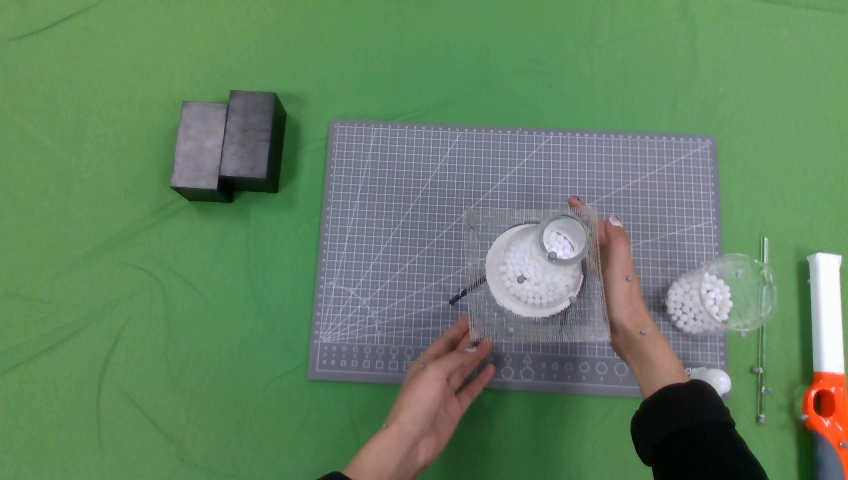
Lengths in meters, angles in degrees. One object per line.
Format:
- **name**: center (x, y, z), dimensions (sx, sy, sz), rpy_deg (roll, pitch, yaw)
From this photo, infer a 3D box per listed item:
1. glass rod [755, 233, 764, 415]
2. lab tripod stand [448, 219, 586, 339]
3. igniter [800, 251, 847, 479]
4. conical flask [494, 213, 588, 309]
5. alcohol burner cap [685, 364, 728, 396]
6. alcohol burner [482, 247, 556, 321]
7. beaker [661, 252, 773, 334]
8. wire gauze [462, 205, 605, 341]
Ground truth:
- **glass rod**: center (0.366, 0.089, 0.661), dimensions (0.008, 0.008, 0.199), rpy_deg (6, 77, 1)
- **lab tripod stand**: center (0.098, 0.041, 0.605), dimensions (0.148, 0.132, 0.147), rpy_deg (0, 79, 1)
- **igniter**: center (0.423, 0.148, 0.638), dimensions (0.057, 0.025, 0.275), rpy_deg (7, 78, -8)
- **conical flask**: center (0.098, 0.011, 0.483), dimensions (0.075, 0.122, 0.075), rpy_deg (0, 77, 1)
- **alcohol burner cap**: center (0.296, 0.145, 0.628), dimensions (0.034, 0.048, 0.033), rpy_deg (0, 77, 1)
- **alcohol burner**: center (0.098, 0.042, 0.615), dimensions (0.078, 0.119, 0.077), rpy_deg (0, 75, 2)
- **beaker**: center (0.295, 0.056, 0.618), dimensions (0.084, 0.100, 0.073), rpy_deg (-33, 80, -7)
- **wire gauze**: center (0.097, 0.029, 0.540), dimensions (0.125, 0.011, 0.121), rpy_deg (-1, 80, -2)
